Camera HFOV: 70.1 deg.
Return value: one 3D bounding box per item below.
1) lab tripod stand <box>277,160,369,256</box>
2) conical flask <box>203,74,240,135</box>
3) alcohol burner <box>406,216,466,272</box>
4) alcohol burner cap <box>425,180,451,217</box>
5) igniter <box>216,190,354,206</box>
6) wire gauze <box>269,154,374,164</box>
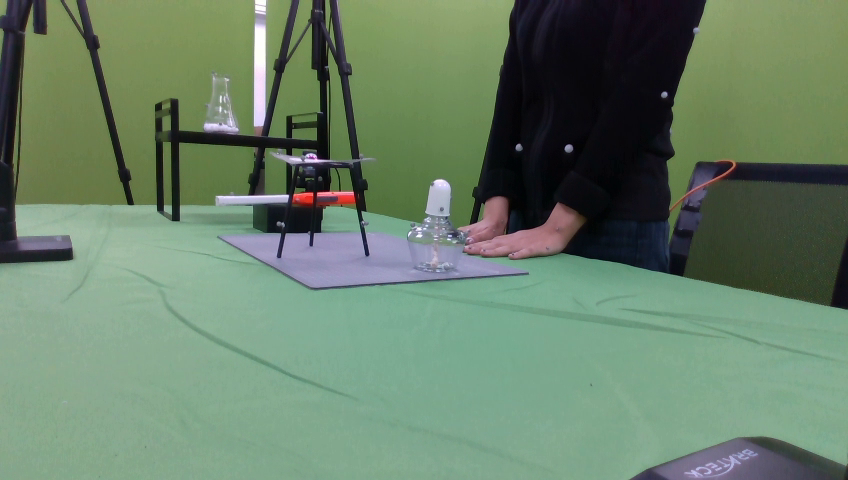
[{"bbox_3d":[-0.149,-0.046,0.861,0.148,0.131,0.148,3,9,0],"label":"lab tripod stand"},{"bbox_3d":[-0.425,-0.284,1.271,0.075,0.122,0.075,3,7,0],"label":"conical flask"},{"bbox_3d":[0.017,-0.018,0.777,0.078,0.119,0.078,5,7,0],"label":"alcohol burner"},{"bbox_3d":[0.020,-0.053,0.772,0.034,0.048,0.034,6,15,-1],"label":"alcohol burner cap"},{"bbox_3d":[-0.248,-0.079,1.142,0.278,0.025,0.057,-5,8,-31],"label":"igniter"},{"bbox_3d":[-0.146,-0.114,0.860,0.122,0.011,0.124,-2,9,-28],"label":"wire gauze"}]
